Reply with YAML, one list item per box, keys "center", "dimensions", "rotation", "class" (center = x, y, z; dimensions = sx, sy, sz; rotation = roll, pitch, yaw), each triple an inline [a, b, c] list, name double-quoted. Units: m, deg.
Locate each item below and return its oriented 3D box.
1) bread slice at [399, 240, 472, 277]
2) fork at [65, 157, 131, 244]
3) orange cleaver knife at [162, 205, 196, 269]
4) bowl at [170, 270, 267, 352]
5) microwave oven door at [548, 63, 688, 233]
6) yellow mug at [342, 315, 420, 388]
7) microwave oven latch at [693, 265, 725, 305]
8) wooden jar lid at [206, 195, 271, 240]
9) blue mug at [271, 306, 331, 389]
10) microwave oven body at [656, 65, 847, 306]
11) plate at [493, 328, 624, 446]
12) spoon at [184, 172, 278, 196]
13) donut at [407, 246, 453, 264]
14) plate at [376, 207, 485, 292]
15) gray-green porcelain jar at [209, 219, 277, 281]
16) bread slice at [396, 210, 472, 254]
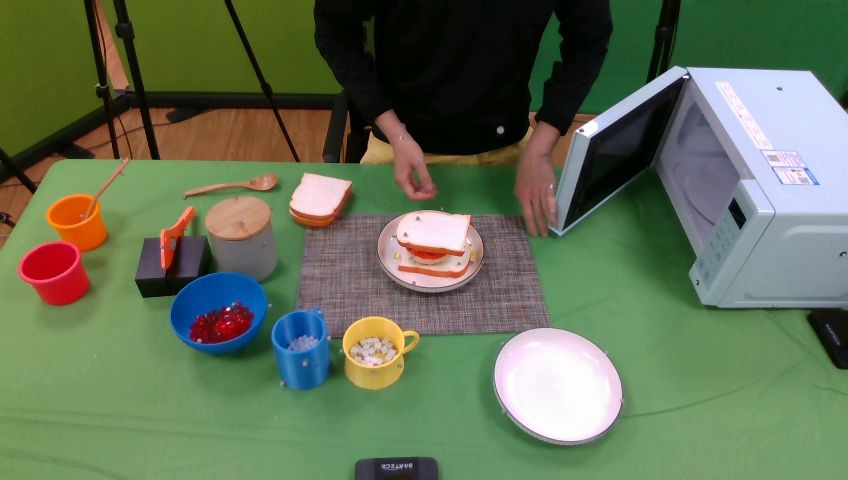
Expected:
- center: [0.026, 0.023, 1.157]
  dimensions: [0.131, 0.019, 0.104]
  rotation: [9, 46, 3]
  class: "bread slice"
- center: [-0.608, -0.074, 1.132]
  dimensions: [0.207, 0.019, 0.028]
  rotation: [-52, 49, 10]
  class: "fork"
- center: [-0.454, -0.010, 1.129]
  dimensions: [0.012, 0.077, 0.210]
  rotation: [-2, 20, -5]
  class: "orange cleaver knife"
- center: [-0.333, 0.132, 1.006]
  dimensions: [0.151, 0.077, 0.150]
  rotation: [2, 46, -2]
  class: "bowl"
- center: [0.395, -0.189, 1.224]
  dimensions: [0.356, 0.245, 0.039]
  rotation: [-34, 57, -30]
  class: "microwave oven door"
- center: [-0.067, 0.177, 0.990]
  dimensions: [0.131, 0.064, 0.099]
  rotation: [-16, 50, -19]
  class: "yellow mug"
- center: [0.523, 0.081, 1.116]
  dimensions: [0.030, 0.029, 0.078]
  rotation: [2, 46, -1]
  class: "microwave oven latch"
- center: [-0.319, -0.036, 1.046]
  dimensions: [0.108, 0.021, 0.107]
  rotation: [1, 44, 0]
  class: "wooden jar lid"
- center: [-0.188, 0.163, 0.969]
  dimensions: [0.082, 0.106, 0.116]
  rotation: [15, 47, 10]
  class: "blue mug"
- center: [0.669, -0.111, 1.176]
  dimensions: [0.326, 0.261, 0.439]
  rotation: [0, 46, -3]
  class: "microwave oven body"
- center: [0.213, 0.236, 0.974]
  dimensions: [0.208, 0.039, 0.206]
  rotation: [2, 46, -2]
  class: "plate"
- center: [-0.405, -0.116, 1.275]
  dimensions: [0.194, 0.022, 0.041]
  rotation: [-8, 66, -12]
  class: "spoon"
- center: [0.014, 0.002, 1.139]
  dimensions: [0.099, 0.048, 0.098]
  rotation: [2, 48, -2]
  class: "donut"
- center: [0.012, 0.021, 1.158]
  dimensions: [0.209, 0.038, 0.208]
  rotation: [2, 47, -2]
  class: "plate"
- center: [-0.323, 0.007, 1.092]
  dimensions: [0.106, 0.127, 0.105]
  rotation: [2, 46, -2]
  class: "gray-green porcelain jar"
- center: [0.017, -0.016, 1.113]
  dimensions: [0.134, 0.018, 0.106]
  rotation: [3, 40, 6]
  class: "bread slice"
